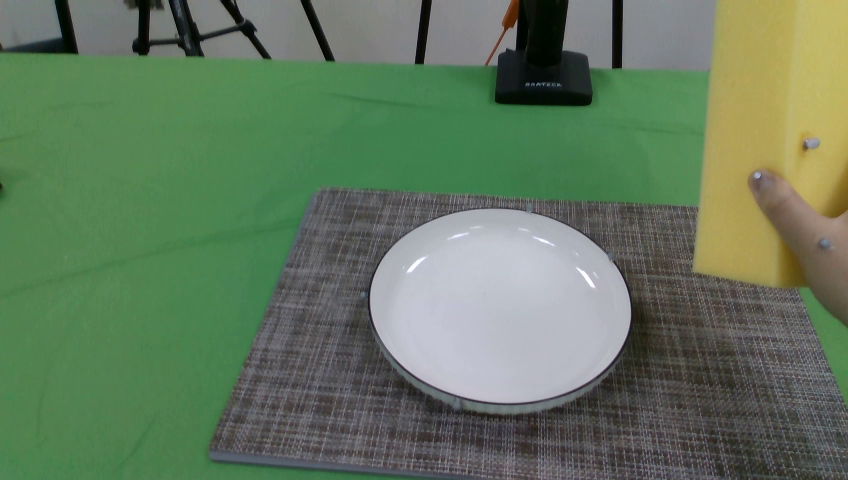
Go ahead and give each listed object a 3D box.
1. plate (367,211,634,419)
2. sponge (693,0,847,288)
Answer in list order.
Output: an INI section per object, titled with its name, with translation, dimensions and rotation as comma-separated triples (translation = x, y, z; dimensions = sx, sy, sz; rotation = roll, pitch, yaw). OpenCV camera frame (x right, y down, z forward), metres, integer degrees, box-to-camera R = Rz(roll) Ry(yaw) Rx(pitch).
[plate]
translation = 0.059, 0.056, 0.489
dimensions = 0.207, 0.039, 0.205
rotation = -1, 42, 2
[sponge]
translation = 0.244, -0.075, 0.385
dimensions = 0.119, 0.207, 0.060
rotation = -2, 6, -23
